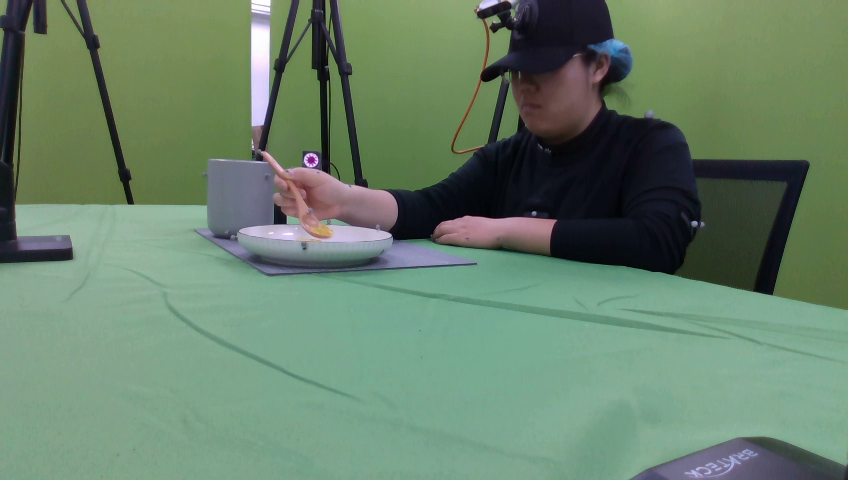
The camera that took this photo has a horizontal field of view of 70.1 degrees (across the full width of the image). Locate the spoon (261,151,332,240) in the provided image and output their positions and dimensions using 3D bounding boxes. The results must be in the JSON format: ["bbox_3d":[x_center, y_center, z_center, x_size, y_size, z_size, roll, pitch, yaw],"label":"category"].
[{"bbox_3d":[-0.184,-0.066,0.854,0.042,0.021,0.193,1,46,-49],"label":"spoon"}]

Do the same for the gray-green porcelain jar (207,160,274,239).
[{"bbox_3d":[-0.304,-0.068,1.003,0.106,0.126,0.106,3,7,0],"label":"gray-green porcelain jar"}]

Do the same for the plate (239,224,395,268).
[{"bbox_3d":[-0.144,0.007,0.823,0.208,0.039,0.207,3,7,0],"label":"plate"}]
